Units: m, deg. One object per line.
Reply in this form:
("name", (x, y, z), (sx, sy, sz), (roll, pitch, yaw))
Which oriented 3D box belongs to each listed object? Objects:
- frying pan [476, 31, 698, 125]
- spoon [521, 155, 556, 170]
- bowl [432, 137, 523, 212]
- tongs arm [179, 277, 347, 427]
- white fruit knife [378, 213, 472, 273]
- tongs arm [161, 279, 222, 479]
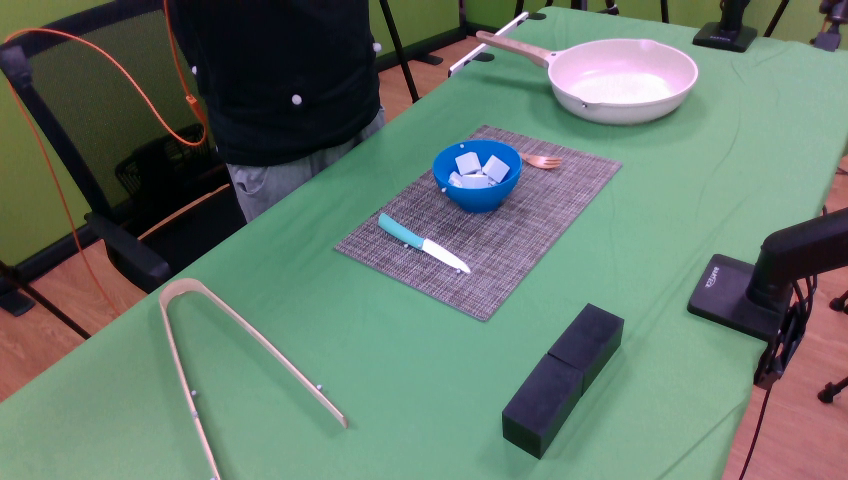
("frying pan", (0.320, -0.371, 1.290), (0.484, 0.103, 0.307), (29, 51, 24))
("spoon", (0.156, -0.161, 1.126), (0.192, 0.022, 0.042), (25, 36, 29))
("bowl", (0.091, -0.100, 1.022), (0.151, 0.077, 0.150), (-4, 41, 4))
("tongs arm", (-0.231, 0.141, 0.832), (0.384, 0.028, 0.028), (30, 55, 35))
("white fruit knife", (-0.004, 0.005, 0.961), (0.205, 0.016, 0.027), (29, 62, 34))
("tongs arm", (-0.297, 0.174, 0.797), (0.051, 0.026, 0.381), (-25, 43, -21))
